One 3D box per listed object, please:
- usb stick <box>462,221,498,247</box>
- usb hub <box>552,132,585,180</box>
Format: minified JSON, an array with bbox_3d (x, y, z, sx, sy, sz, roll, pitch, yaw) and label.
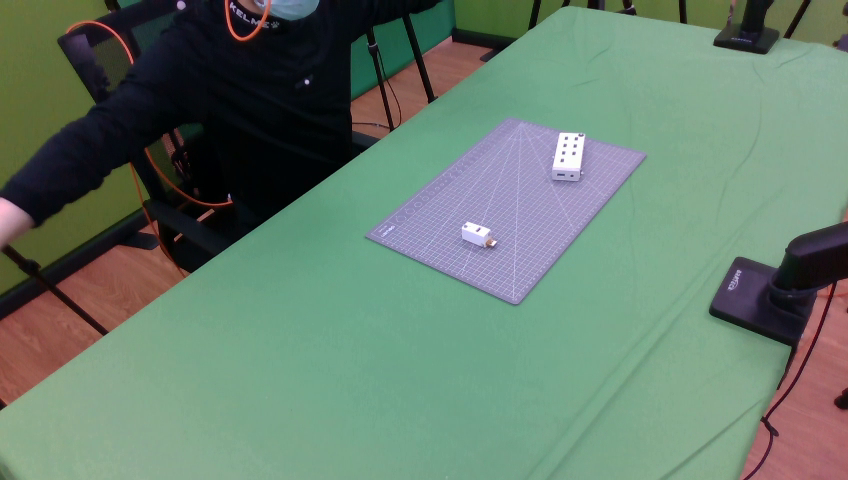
[{"bbox_3d":[0.089,-0.007,0.956,0.059,0.027,0.021,24,48,28],"label":"usb stick"},{"bbox_3d":[0.266,-0.154,1.103,0.049,0.025,0.125,6,43,15],"label":"usb hub"}]
